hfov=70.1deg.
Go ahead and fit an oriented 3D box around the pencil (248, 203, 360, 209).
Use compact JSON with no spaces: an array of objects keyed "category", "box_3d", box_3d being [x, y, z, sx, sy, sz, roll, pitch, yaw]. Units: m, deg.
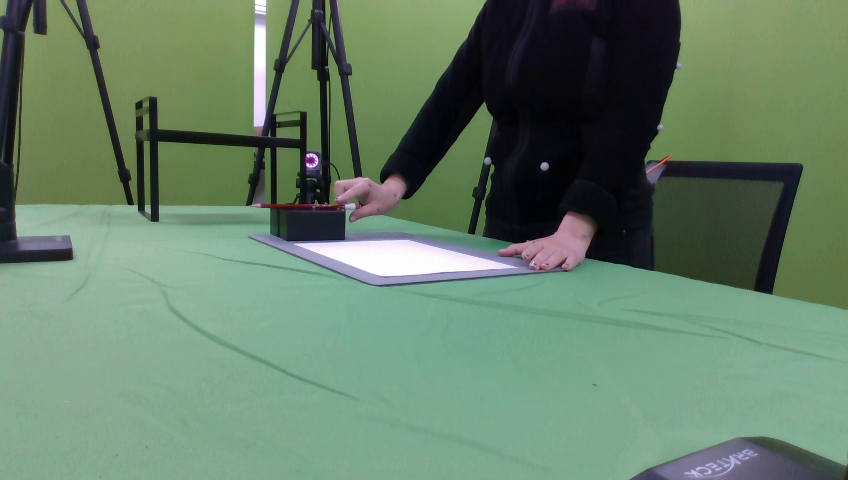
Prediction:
[{"category":"pencil","box_3d":[-0.201,-0.059,1.032,0.195,0.012,0.012,-1,8,-29]}]
